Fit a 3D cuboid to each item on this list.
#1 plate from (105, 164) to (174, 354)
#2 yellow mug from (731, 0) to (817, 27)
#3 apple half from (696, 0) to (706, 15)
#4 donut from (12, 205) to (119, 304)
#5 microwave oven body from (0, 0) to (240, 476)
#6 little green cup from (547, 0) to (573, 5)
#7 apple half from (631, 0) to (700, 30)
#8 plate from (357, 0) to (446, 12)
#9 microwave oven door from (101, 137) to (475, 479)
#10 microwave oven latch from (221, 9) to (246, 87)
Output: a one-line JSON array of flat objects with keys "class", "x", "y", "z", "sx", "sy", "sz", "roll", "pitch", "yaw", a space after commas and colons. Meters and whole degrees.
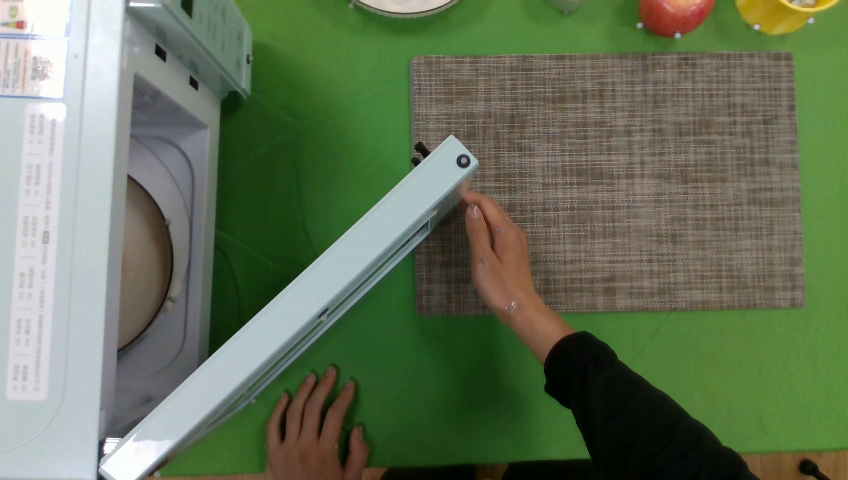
[{"class": "plate", "x": -0.355, "y": 0.018, "z": 0.611, "sx": 0.209, "sy": 0.038, "sz": 0.209, "roll": 0, "pitch": 88, "yaw": -2}, {"class": "yellow mug", "x": 0.395, "y": -0.307, "z": 0.688, "sx": 0.131, "sy": 0.064, "sz": 0.100, "roll": 9, "pitch": 87, "yaw": 0}, {"class": "apple half", "x": 0.297, "y": -0.291, "z": 0.681, "sx": 0.033, "sy": 0.081, "sz": 0.081, "roll": -28, "pitch": 88, "yaw": 3}, {"class": "donut", "x": -0.352, "y": 0.014, "z": 0.597, "sx": 0.099, "sy": 0.048, "sz": 0.099, "roll": 0, "pitch": 87, "yaw": -1}, {"class": "microwave oven body", "x": -0.364, "y": -0.044, "z": 0.561, "sx": 0.326, "sy": 0.260, "sz": 0.441, "roll": 1, "pitch": 88, "yaw": -2}, {"class": "little green cup", "x": 0.160, "y": -0.304, "z": 0.697, "sx": 0.061, "sy": 0.038, "sz": 0.061, "roll": 0, "pitch": 87, "yaw": -1}, {"class": "apple half", "x": 0.263, "y": -0.272, "z": 0.681, "sx": 0.053, "sy": 0.074, "sz": 0.081, "roll": -28, "pitch": 92, "yaw": 2}, {"class": "plate", "x": -0.026, "y": -0.359, "z": 0.695, "sx": 0.208, "sy": 0.039, "sz": 0.207, "roll": 0, "pitch": 88, "yaw": -1}, {"class": "microwave oven door", "x": -0.100, "y": 0.056, "z": 0.557, "sx": 0.355, "sy": 0.244, "sz": 0.039, "roll": -43, "pitch": 87, "yaw": -3}, {"class": "microwave oven latch", "x": -0.213, "y": -0.212, "z": 0.667, "sx": 0.030, "sy": 0.029, "sz": 0.079, "roll": 4, "pitch": 88, "yaw": -1}]
